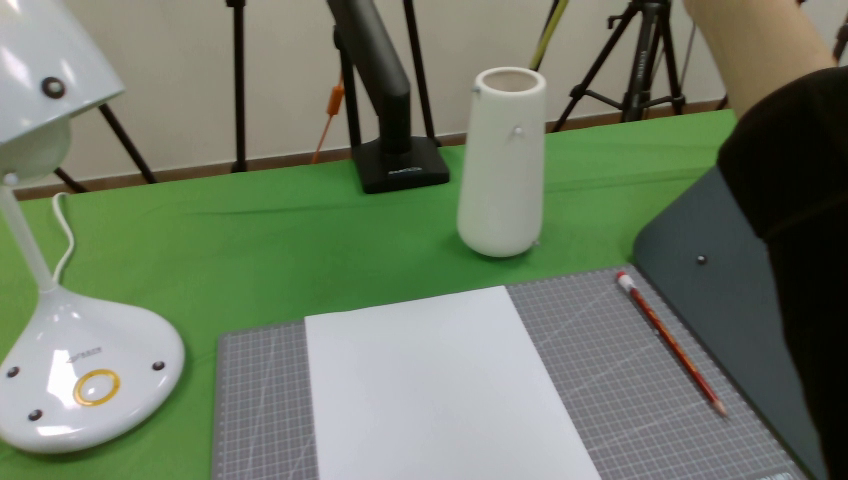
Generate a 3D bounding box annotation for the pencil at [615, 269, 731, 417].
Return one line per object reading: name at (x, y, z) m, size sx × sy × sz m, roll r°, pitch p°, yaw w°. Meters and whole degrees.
pencil at (0.233, 0.091, 0.581) m, size 0.012 × 0.012 × 0.192 m, roll -9°, pitch 39°, yaw -11°

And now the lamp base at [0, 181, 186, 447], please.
lamp base at (-0.309, 0.050, 0.505) m, size 0.160 × 0.182 × 0.177 m, roll -31°, pitch 45°, yaw -34°

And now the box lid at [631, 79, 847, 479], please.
box lid at (0.361, 0.026, 0.518) m, size 0.015 × 0.263 × 0.367 m, roll 31°, pitch 22°, yaw -34°

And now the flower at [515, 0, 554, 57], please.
flower at (0.124, -0.231, 0.365) m, size 0.044 × 0.363 × 0.038 m, roll -1°, pitch 67°, yaw -15°

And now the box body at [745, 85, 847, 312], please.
box body at (0.534, -0.007, 0.586) m, size 0.255 × 0.162 × 0.360 m, roll -9°, pitch 38°, yaw -10°

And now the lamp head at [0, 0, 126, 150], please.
lamp head at (-0.237, -0.104, 0.306) m, size 0.112 × 0.123 × 0.111 m, roll -26°, pitch 19°, yaw 10°

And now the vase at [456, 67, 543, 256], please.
vase at (0.083, -0.080, 0.657) m, size 0.098 × 0.202 × 0.097 m, roll -1°, pitch 37°, yaw 1°
